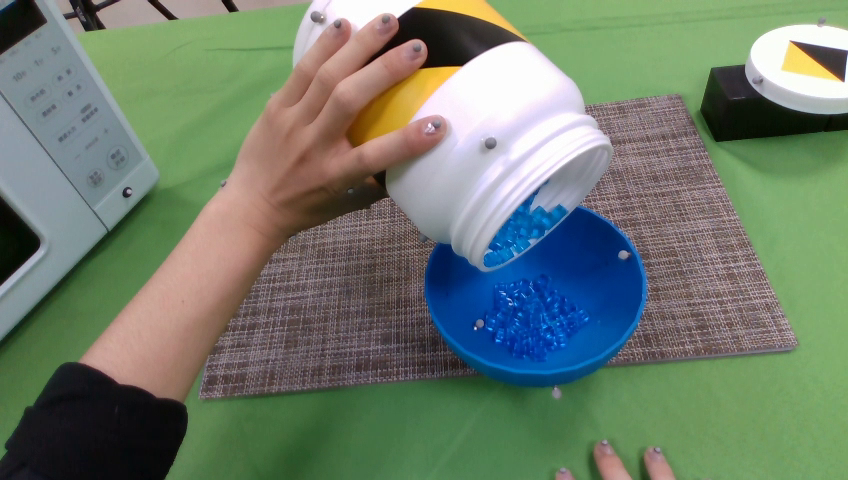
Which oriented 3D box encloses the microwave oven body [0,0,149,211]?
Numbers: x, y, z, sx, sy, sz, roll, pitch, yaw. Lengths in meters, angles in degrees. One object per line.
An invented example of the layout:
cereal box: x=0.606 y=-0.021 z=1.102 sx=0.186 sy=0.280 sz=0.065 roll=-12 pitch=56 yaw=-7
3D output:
microwave oven body: x=-0.515 y=-0.030 z=0.476 sx=0.324 sy=0.263 sz=0.439 roll=17 pitch=56 yaw=21

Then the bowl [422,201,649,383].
bowl: x=0.078 y=0.046 z=0.441 sx=0.151 sy=0.077 sz=0.150 roll=-5 pitch=50 yaw=6

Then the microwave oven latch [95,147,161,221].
microwave oven latch: x=-0.293 y=-0.057 z=0.592 sx=0.030 sy=0.030 sz=0.079 roll=19 pitch=56 yaw=22

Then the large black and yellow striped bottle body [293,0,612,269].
large black and yellow striped bottle body: x=0.017 y=-0.083 z=0.392 sx=0.131 sy=0.131 sz=0.182 roll=-35 pitch=70 yaw=-19

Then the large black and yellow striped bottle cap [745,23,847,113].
large black and yellow striped bottle cap: x=0.355 y=-0.158 z=0.548 sx=0.115 sy=0.019 sz=0.114 roll=-5 pitch=49 yaw=6

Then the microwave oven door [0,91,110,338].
microwave oven door: x=-0.404 y=0.036 z=0.397 sx=0.039 sy=0.246 sz=0.354 roll=17 pitch=55 yaw=22
